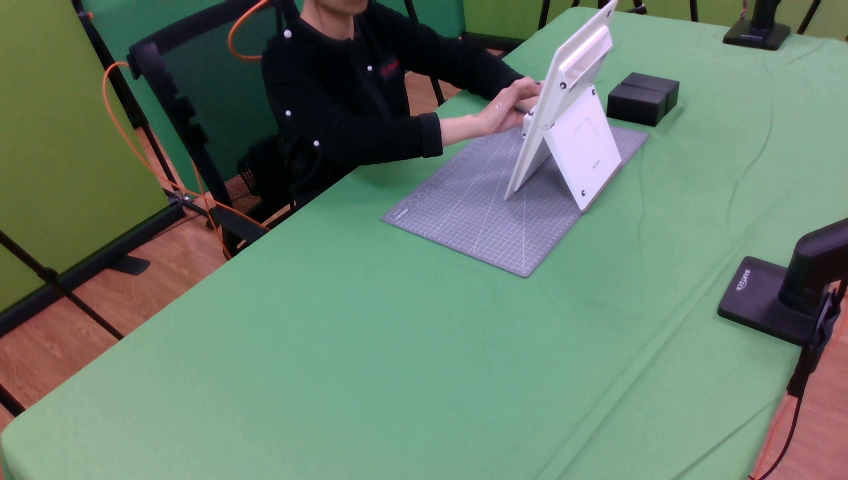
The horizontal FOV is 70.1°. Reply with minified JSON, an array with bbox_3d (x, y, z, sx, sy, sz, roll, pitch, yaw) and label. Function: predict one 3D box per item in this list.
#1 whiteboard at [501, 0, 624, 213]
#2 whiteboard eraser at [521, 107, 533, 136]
[{"bbox_3d":[0.271,-0.189,0.977,0.143,0.306,0.218,34,54,16],"label":"whiteboard"},{"bbox_3d":[0.217,-0.224,1.056,0.041,0.056,0.113,37,66,18],"label":"whiteboard eraser"}]
